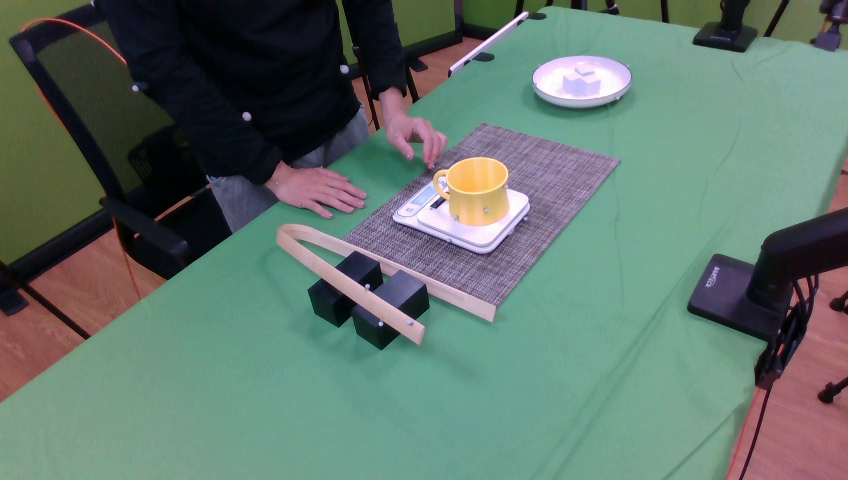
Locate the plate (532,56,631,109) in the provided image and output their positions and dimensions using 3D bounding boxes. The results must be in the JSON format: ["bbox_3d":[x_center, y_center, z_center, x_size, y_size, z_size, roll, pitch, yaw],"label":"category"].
[{"bbox_3d":[0.336,-0.335,1.301,0.207,0.039,0.206,-4,41,4],"label":"plate"}]

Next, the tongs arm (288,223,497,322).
[{"bbox_3d":[-0.060,0.043,0.918,0.384,0.028,0.028,21,24,29],"label":"tongs arm"}]

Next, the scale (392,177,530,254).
[{"bbox_3d":[0.060,-0.050,1.006,0.199,0.032,0.149,22,48,30],"label":"scale"}]

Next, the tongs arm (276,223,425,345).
[{"bbox_3d":[-0.114,0.049,0.856,0.051,0.026,0.381,-7,24,-43],"label":"tongs arm"}]

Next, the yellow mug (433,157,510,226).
[{"bbox_3d":[0.072,-0.082,0.968,0.130,0.064,0.100,13,45,24],"label":"yellow mug"}]
